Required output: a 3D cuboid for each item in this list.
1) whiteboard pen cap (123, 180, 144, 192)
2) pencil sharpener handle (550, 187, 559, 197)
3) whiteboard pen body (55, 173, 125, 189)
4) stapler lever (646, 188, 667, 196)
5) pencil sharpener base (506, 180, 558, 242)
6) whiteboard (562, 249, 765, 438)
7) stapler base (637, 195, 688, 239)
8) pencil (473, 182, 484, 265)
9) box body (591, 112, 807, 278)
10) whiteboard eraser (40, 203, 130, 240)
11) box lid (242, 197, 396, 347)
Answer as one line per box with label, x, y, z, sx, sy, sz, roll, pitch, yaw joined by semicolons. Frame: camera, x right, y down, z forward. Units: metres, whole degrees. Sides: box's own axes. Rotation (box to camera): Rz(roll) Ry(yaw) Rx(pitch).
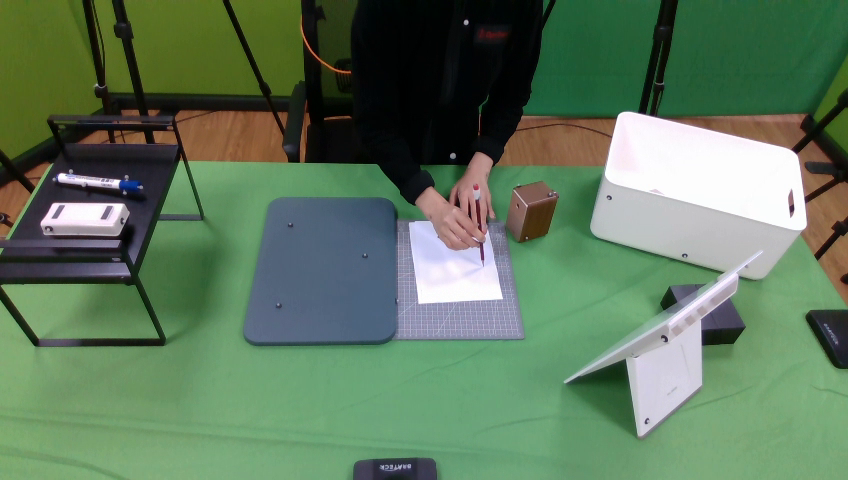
whiteboard pen cap;-0.479;-0.089;0.993;0.033;0.018;0.018;7;46;14
pencil sharpener handle;0.261;-0.084;1.221;0.031;0.068;0.036;-16;65;-19
whiteboard pen body;-0.539;-0.095;0.998;0.141;0.017;0.017;6;46;6
stapler lever;0.507;-0.075;1.262;0.027;0.040;0.117;-14;46;-19
pencil sharpener base;0.216;-0.058;1.211;0.077;0.107;0.061;-16;49;-19
whiteboard;0.386;0.175;0.905;0.217;0.306;0.143;-26;72;-26
stapler base;0.507;-0.055;1.280;0.041;0.024;0.129;-14;47;-19
pencil;0.101;-0.025;1.105;0.012;0.195;0.012;-6;40;5
box body;0.540;-0.092;1.229;0.363;0.161;0.253;16;47;11
whiteboard eraser;-0.513;-0.028;0.922;0.113;0.042;0.055;1;48;-3
box lid;-0.186;0.046;1.147;0.263;0.015;0.369;0;46;-3
